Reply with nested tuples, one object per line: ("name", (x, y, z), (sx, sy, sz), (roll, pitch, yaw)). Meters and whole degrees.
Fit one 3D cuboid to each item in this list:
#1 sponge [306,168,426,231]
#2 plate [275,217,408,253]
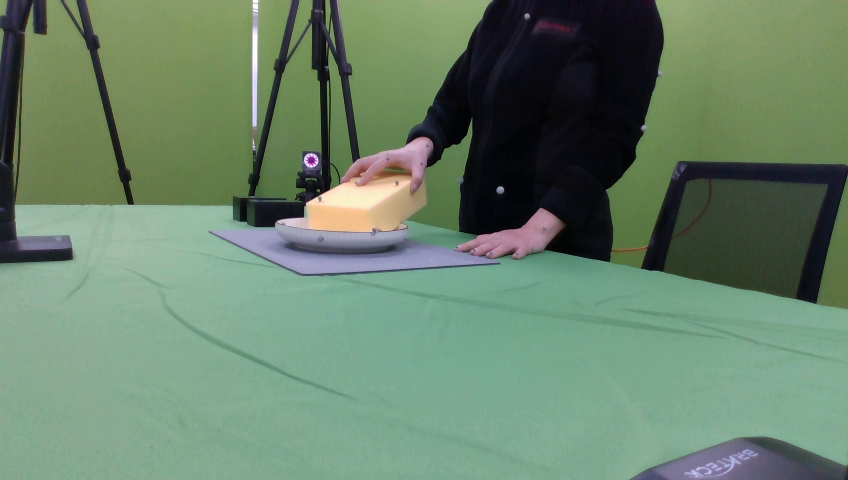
("sponge", (-0.091, -0.063, 1.025), (0.118, 0.061, 0.207), (6, 24, 23))
("plate", (-0.129, -0.009, 0.954), (0.209, 0.038, 0.209), (2, 7, 0))
